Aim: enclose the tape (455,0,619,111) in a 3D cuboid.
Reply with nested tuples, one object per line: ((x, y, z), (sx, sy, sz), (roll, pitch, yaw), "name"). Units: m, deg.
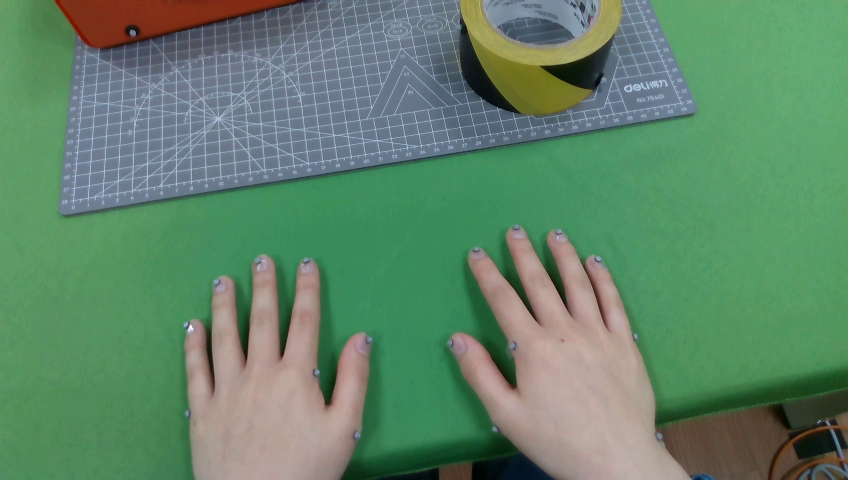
((0.080, -0.152, 0.436), (0.117, 0.053, 0.116), (-1, 66, 1), "tape")

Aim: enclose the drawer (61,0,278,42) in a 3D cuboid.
((-0.191, -0.275, 0.481), (0.195, 0.074, 0.210), (-17, 65, -6), "drawer")

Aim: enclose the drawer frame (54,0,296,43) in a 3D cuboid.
((-0.193, -0.277, 0.481), (0.202, 0.083, 0.211), (-17, 65, -6), "drawer frame")
